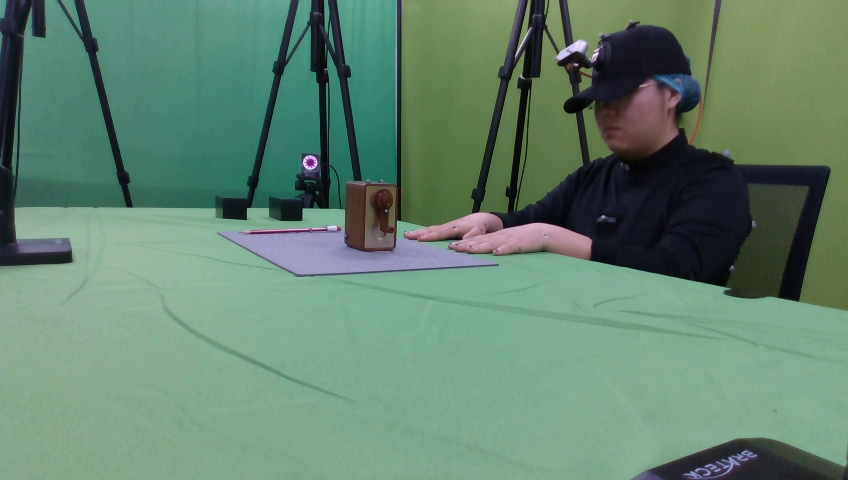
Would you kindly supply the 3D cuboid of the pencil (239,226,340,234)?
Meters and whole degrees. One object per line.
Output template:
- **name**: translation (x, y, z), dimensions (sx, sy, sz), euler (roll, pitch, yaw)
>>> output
- **pencil**: translation (-0.245, -0.018, 1.119), dimensions (0.195, 0.012, 0.012), euler (-3, 9, -34)

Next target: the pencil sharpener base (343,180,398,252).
- **pencil sharpener base**: translation (-0.085, -0.038, 0.956), dimensions (0.062, 0.107, 0.076), euler (-1, 9, -33)

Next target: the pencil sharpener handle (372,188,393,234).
- **pencil sharpener handle**: translation (-0.057, -0.044, 0.912), dimensions (0.036, 0.067, 0.030), euler (-2, 9, -33)
